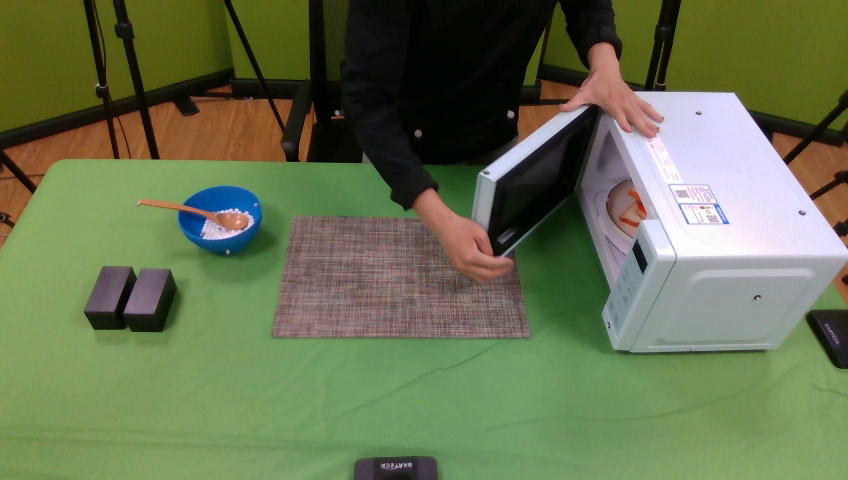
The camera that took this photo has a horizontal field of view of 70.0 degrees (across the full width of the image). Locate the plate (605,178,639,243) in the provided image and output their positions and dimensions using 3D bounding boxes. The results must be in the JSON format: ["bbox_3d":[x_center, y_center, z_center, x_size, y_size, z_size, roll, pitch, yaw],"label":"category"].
[{"bbox_3d":[0.455,-0.042,1.182,0.208,0.039,0.206,2,46,-2],"label":"plate"}]

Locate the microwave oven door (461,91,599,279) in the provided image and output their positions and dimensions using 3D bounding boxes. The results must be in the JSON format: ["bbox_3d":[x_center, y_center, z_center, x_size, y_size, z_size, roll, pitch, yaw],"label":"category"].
[{"bbox_3d":[0.205,-0.109,1.148,0.039,0.245,0.355,34,52,26],"label":"microwave oven door"}]

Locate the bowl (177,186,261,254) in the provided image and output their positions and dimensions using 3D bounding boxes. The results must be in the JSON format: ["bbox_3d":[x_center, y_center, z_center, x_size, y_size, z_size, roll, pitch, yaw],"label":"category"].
[{"bbox_3d":[-0.383,-0.026,1.158,0.151,0.077,0.150,2,46,-2],"label":"bowl"}]

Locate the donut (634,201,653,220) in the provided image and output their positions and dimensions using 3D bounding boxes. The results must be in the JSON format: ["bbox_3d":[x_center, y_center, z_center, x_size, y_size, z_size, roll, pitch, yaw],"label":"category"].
[{"bbox_3d":[0.453,-0.061,1.159,0.099,0.048,0.098,0,46,1],"label":"donut"}]

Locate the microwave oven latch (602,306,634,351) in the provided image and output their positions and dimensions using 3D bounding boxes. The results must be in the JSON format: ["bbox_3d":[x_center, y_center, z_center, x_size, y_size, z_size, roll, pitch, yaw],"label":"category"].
[{"bbox_3d":[0.332,0.153,1.044,0.030,0.029,0.078,0,45,-4],"label":"microwave oven latch"}]

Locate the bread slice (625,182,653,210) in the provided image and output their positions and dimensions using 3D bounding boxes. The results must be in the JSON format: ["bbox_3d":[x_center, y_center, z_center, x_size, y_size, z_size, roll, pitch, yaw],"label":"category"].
[{"bbox_3d":[0.462,-0.080,1.139,0.105,0.019,0.131,-31,53,-34],"label":"bread slice"}]

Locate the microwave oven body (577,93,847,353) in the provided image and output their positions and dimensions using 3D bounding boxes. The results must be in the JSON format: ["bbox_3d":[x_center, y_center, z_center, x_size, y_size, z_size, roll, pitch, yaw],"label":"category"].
[{"bbox_3d":[0.475,-0.042,1.109,0.326,0.261,0.438,-1,45,-4],"label":"microwave oven body"}]

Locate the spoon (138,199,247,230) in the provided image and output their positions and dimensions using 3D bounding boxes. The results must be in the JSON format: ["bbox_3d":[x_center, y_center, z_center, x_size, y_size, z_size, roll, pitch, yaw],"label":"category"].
[{"bbox_3d":[-0.431,-0.053,1.135,0.194,0.022,0.041,15,47,-20],"label":"spoon"}]

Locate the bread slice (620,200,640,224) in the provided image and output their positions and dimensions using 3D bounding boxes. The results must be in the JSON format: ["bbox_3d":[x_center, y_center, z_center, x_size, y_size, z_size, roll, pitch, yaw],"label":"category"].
[{"bbox_3d":[0.464,-0.046,1.172,0.134,0.018,0.107,36,65,20],"label":"bread slice"}]
